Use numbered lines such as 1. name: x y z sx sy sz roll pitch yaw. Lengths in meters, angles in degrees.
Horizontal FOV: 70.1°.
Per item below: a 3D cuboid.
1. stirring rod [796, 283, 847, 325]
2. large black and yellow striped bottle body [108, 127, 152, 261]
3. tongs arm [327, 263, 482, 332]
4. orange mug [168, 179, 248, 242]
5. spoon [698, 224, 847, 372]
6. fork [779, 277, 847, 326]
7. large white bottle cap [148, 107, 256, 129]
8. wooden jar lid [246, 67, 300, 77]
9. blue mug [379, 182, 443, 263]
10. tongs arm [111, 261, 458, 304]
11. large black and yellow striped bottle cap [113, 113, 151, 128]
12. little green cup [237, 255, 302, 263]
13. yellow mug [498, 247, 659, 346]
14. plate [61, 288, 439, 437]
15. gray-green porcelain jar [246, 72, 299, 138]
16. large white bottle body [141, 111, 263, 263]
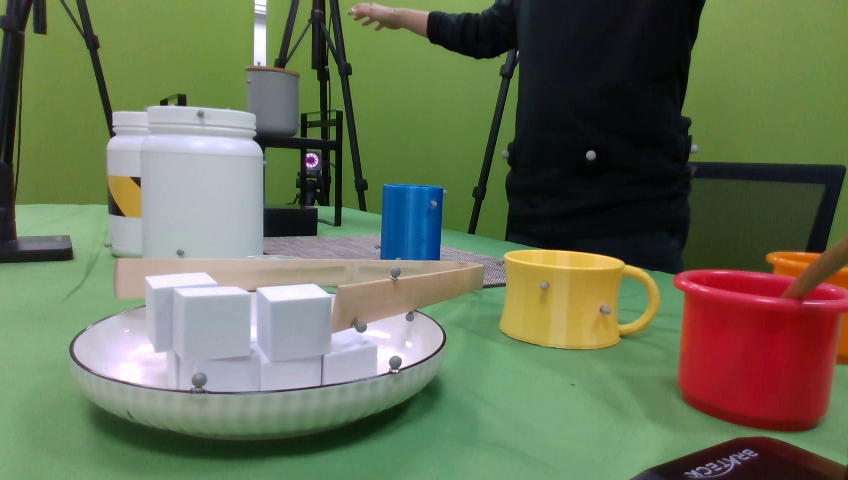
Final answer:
1. stirring rod: 0.347 0.019 0.460 0.014 0.176 0.006 -17 59 -26
2. large black and yellow striped bottle body: -0.350 -0.071 0.812 0.131 0.184 0.130 2 7 0
3. tongs arm: -0.003 0.036 0.493 0.050 0.026 0.386 1 0 19
4. orange mug: -0.351 -0.050 0.986 0.126 0.101 0.083 -3 8 -9
5. spoon: 0.195 0.032 0.323 0.041 0.021 0.194 1 -36 2
6. fork: 0.335 0.018 0.443 0.028 0.018 0.207 -1 -36 -20
7. large white bottle cap: -0.250 -0.137 0.686 0.115 0.018 0.115 2 8 0
8. wooden jar lid: -0.312 -0.339 1.247 0.108 0.020 0.108 4 8 0
9. blue mug: -0.020 -0.026 0.833 0.082 0.106 0.116 1 7 -7
10. tongs arm: -0.080 0.032 0.527 0.028 0.027 0.389 -3 -3 33
11. large black and yellow striped bottle cap: -0.348 -0.154 0.800 0.115 0.019 0.115 2 6 0
12. little green cup: -0.150 0.038 0.590 0.061 0.038 0.061 3 6 0
13. yellow mug: 0.130 0.045 0.508 0.131 0.064 0.100 4 6 6
14. plate: -0.095 0.069 0.362 0.208 0.039 0.207 3 7 0
15. gray-green porcelain jar: -0.314 -0.277 1.256 0.106 0.126 0.106 3 8 0
16. large white bottle body: -0.254 -0.054 0.697 0.131 0.184 0.130 2 7 0
